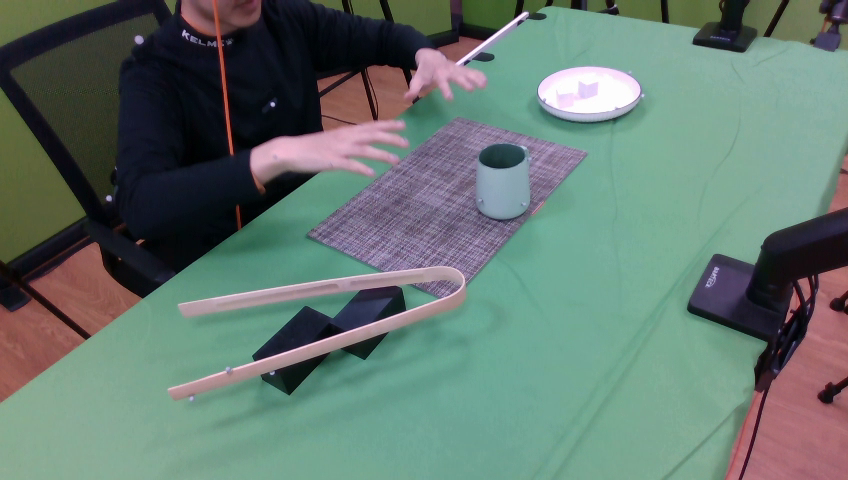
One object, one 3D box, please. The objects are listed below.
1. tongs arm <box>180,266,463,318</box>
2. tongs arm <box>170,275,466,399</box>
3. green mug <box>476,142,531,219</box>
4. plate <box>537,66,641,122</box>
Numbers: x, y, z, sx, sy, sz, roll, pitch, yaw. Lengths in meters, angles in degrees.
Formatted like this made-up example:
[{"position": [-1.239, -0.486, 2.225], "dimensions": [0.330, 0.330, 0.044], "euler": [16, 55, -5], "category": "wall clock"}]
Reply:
[{"position": [-0.139, 0.073, 0.828], "dimensions": [0.388, 0.028, 0.028], "euler": [-8, 34, 0], "category": "tongs arm"}, {"position": [-0.122, 0.120, 0.768], "dimensions": [0.386, 0.026, 0.050], "euler": [-16, 38, -10], "category": "tongs arm"}, {"position": [0.140, -0.106, 1.002], "dimensions": [0.092, 0.105, 0.125], "euler": [21, 49, 30], "category": "green mug"}, {"position": [0.338, -0.299, 1.255], "dimensions": [0.209, 0.038, 0.208], "euler": [-4, 41, 4], "category": "plate"}]
